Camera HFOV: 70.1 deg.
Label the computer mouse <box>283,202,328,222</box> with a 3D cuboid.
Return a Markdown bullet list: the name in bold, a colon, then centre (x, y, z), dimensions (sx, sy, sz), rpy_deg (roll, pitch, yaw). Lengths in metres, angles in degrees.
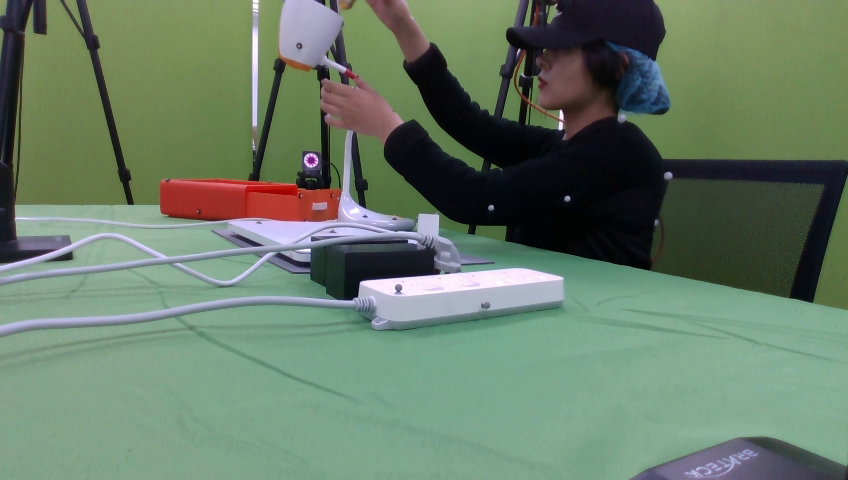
- **computer mouse**: centre (-0.251, -0.060, 1.287), dimensions (0.063, 0.041, 0.117), rpy_deg (3, 4, 11)

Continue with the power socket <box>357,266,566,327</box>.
- **power socket**: centre (0.042, 0.049, 0.573), dimensions (0.228, 0.032, 0.072), rpy_deg (-3, 8, -34)

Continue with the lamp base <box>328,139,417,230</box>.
- **lamp base**: centre (-0.104, -0.113, 1.213), dimensions (0.180, 0.180, 0.160), rpy_deg (-2, 7, -14)

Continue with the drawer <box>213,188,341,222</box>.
- **drawer**: centre (-0.312, -0.077, 1.296), dimensions (0.211, 0.073, 0.195), rpy_deg (4, 8, 17)

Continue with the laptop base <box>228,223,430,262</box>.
- **laptop base**: centre (-0.145, 0.002, 0.943), dimensions (0.237, 0.023, 0.352), rpy_deg (1, 6, -32)

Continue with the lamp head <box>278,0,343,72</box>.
- **lamp head**: centre (-0.218, -0.376, 1.125), dimensions (0.112, 0.123, 0.112), rpy_deg (17, 10, -3)

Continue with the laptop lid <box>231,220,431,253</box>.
- **laptop lid**: centre (-0.142, -0.009, 0.942), dimensions (0.243, 0.013, 0.355), rpy_deg (1, 7, -31)

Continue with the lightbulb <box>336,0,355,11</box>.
- **lightbulb**: centre (-0.137, -0.478, 1.142), dimensions (0.059, 0.107, 0.059), rpy_deg (19, -15, 6)

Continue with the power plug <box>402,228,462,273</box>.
- **power plug**: centre (0.006, 0.016, 0.647), dimensions (0.073, 0.052, 0.035), rpy_deg (17, 12, -6)

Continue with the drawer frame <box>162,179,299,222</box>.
- **drawer frame**: centre (-0.418, -0.089, 1.329), dimensions (0.213, 0.082, 0.202), rpy_deg (4, 8, 18)

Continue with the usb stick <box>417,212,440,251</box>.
- **usb stick**: centre (0.005, -0.004, 0.721), dimensions (0.027, 0.059, 0.021), rpy_deg (0, -3, -3)
